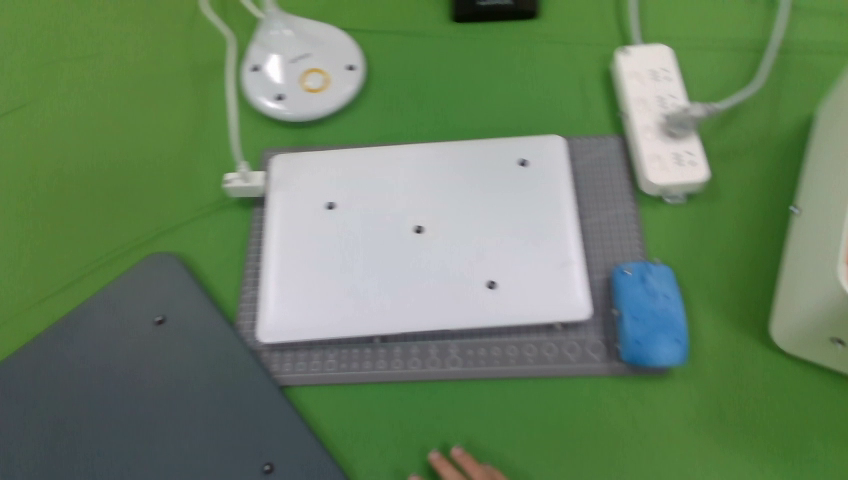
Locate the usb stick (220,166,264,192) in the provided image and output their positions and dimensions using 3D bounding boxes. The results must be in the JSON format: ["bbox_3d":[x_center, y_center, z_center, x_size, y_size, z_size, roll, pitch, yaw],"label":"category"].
[{"bbox_3d":[-0.205,-0.071,0.710,0.059,0.027,0.021,1,59,0],"label":"usb stick"}]

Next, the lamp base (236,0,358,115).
[{"bbox_3d":[-0.179,-0.272,0.731,0.160,0.182,0.177,-38,65,-15],"label":"lamp base"}]

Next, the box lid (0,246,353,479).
[{"bbox_3d":[-0.274,0.194,0.604,0.263,0.015,0.368,-39,69,-15],"label":"box lid"}]

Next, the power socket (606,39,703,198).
[{"bbox_3d":[0.275,-0.156,0.734,0.072,0.033,0.225,-4,64,-1],"label":"power socket"}]

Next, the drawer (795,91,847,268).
[{"bbox_3d":[0.523,-0.052,0.657,0.194,0.074,0.210,18,56,12],"label":"drawer"}]

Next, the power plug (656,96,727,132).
[{"bbox_3d":[0.306,-0.139,0.699,0.072,0.053,0.035,6,63,4],"label":"power plug"}]

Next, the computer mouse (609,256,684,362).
[{"bbox_3d":[0.228,0.068,0.623,0.063,0.041,0.116,0,60,5],"label":"computer mouse"}]

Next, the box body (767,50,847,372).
[{"bbox_3d":[0.514,-0.031,0.590,0.253,0.161,0.362,20,67,12],"label":"box body"}]

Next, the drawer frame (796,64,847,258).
[{"bbox_3d":[0.521,-0.065,0.642,0.201,0.083,0.212,20,60,10],"label":"drawer frame"}]

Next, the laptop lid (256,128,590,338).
[{"bbox_3d":[-0.008,-0.015,0.674,0.357,0.013,0.239,-3,67,2],"label":"laptop lid"}]

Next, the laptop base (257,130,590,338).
[{"bbox_3d":[-0.007,-0.012,0.686,0.354,0.023,0.233,-4,67,1],"label":"laptop base"}]
